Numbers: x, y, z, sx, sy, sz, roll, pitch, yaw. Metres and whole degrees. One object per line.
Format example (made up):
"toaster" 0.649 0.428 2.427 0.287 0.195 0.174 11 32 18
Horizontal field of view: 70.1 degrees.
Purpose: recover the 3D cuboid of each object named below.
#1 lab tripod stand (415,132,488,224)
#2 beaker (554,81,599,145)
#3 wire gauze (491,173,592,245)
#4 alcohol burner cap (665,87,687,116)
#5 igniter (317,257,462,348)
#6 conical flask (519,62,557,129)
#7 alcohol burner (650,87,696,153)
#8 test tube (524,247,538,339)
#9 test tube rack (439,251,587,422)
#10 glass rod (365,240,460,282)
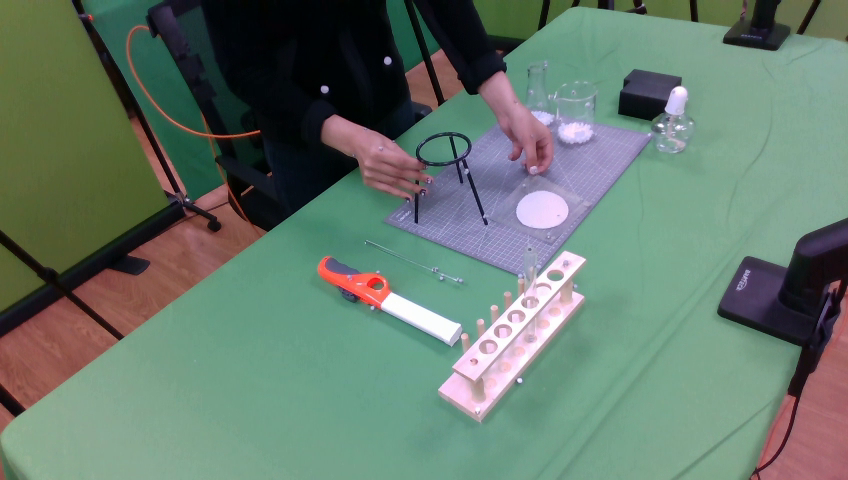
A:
"lab tripod stand" 0.041 -0.102 0.992 0.148 0.132 0.147 -8 41 8
"beaker" 0.286 -0.237 1.144 0.084 0.101 0.073 -17 40 -7
"wire gauze" 0.195 -0.052 1.006 0.120 0.011 0.125 31 61 30
"alcohol burner cap" 0.445 -0.244 1.060 0.034 0.048 0.033 -2 45 3
"igniter" -0.061 0.086 0.891 0.274 0.025 0.057 23 60 33
"conical flask" 0.225 -0.287 1.198 0.075 0.122 0.075 -6 40 5
"alcohol burner" 0.448 -0.217 1.084 0.078 0.119 0.077 -6 38 5
"test tube" 0.133 0.070 0.749 0.017 0.151 0.017 -5 38 4
"test tube rack" 0.118 0.111 0.780 0.066 0.085 0.243 26 51 35
"glass rod" -0.022 0.032 0.961 0.198 0.008 0.008 21 49 35
